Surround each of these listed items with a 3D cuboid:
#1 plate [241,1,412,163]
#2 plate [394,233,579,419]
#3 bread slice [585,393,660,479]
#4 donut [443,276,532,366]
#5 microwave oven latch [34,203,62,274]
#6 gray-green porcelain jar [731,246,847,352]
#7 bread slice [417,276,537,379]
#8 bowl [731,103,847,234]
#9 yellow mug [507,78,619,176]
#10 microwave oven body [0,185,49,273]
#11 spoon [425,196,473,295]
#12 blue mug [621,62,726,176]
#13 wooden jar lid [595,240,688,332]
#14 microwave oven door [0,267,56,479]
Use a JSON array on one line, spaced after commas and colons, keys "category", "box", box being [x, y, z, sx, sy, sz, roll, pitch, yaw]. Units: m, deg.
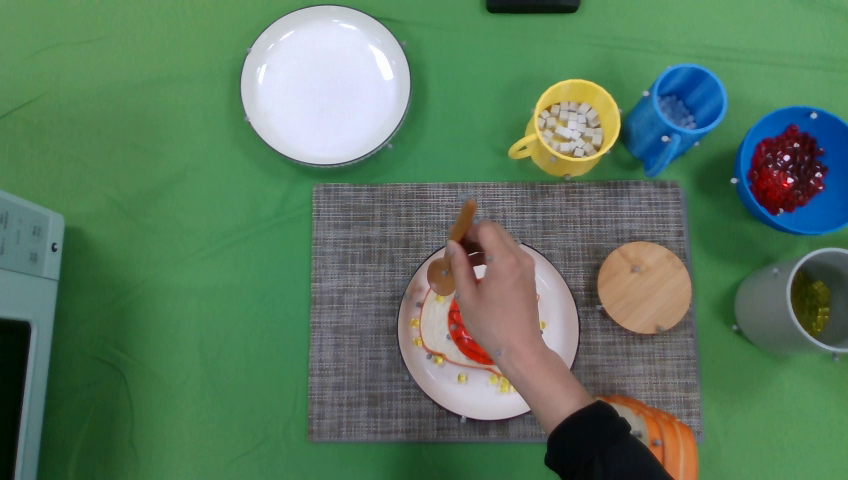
[{"category": "plate", "box": [-0.118, -0.191, 0.747, 0.208, 0.039, 0.207, 0, 80, 0]}, {"category": "plate", "box": [0.070, 0.097, 0.693, 0.209, 0.038, 0.208, 0, 80, 0]}, {"category": "bread slice", "box": [0.202, 0.216, 0.629, 0.018, 0.134, 0.106, 7, 78, -8]}, {"category": "donut", "box": [0.070, 0.088, 0.667, 0.099, 0.048, 0.098, 0, 79, -1]}, {"category": "microwave oven latch", "box": [-0.436, -0.002, 0.692, 0.030, 0.029, 0.079, 3, 81, 0]}, {"category": "gray-green porcelain jar", "box": [0.408, 0.069, 0.660, 0.106, 0.127, 0.105, 0, 80, 0]}, {"category": "bread slice", "box": [0.057, 0.095, 0.695, 0.131, 0.019, 0.104, 13, 81, 0]}, {"category": "bowl", "box": [0.425, -0.074, 0.710, 0.151, 0.077, 0.151, 0, 80, 0]}, {"category": "yellow mug", "box": [0.160, -0.128, 0.724, 0.131, 0.064, 0.099, -21, 80, -3]}, {"category": "microwave oven body", "box": [-0.587, 0.152, 0.566, 0.326, 0.261, 0.440, 1, 80, -1]}, {"category": "spoon", "box": [0.025, 0.010, 0.602, 0.021, 0.195, 0.041, -39, 75, -20]}, {"category": "blue mug", "box": [0.282, -0.130, 0.705, 0.082, 0.106, 0.116, 20, 80, 4]}, {"category": "wooden jar lid", "box": [0.254, 0.054, 0.712, 0.108, 0.021, 0.108, 0, 81, 0]}, {"category": "microwave oven door", "box": [-0.442, 0.195, 0.554, 0.039, 0.244, 0.354, 0, 79, 0]}]
